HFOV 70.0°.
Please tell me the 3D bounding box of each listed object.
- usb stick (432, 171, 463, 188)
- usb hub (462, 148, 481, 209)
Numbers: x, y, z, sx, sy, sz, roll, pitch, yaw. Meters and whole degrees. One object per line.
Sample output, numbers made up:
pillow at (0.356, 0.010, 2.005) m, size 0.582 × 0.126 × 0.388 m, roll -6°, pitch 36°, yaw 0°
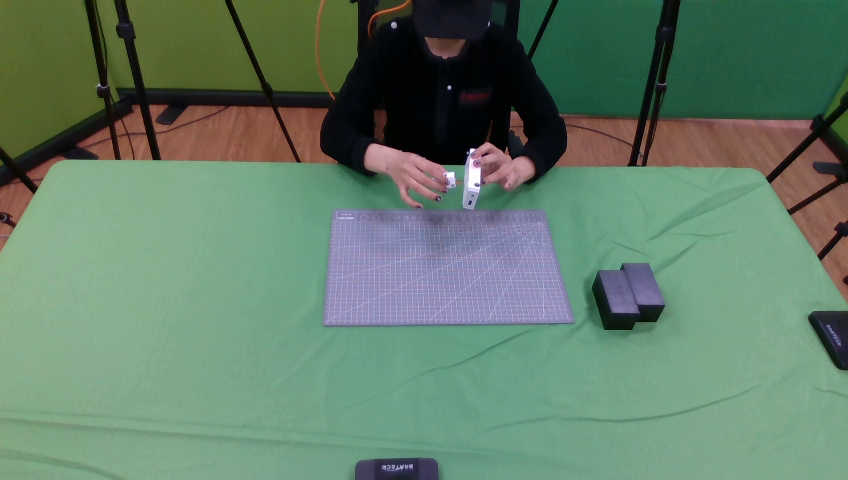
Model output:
usb stick at (0.046, -0.117, 1.175) m, size 0.059 × 0.027 × 0.021 m, roll -1°, pitch 38°, yaw 7°
usb hub at (0.093, -0.120, 1.175) m, size 0.025 × 0.050 × 0.124 m, roll 11°, pitch 47°, yaw -4°
